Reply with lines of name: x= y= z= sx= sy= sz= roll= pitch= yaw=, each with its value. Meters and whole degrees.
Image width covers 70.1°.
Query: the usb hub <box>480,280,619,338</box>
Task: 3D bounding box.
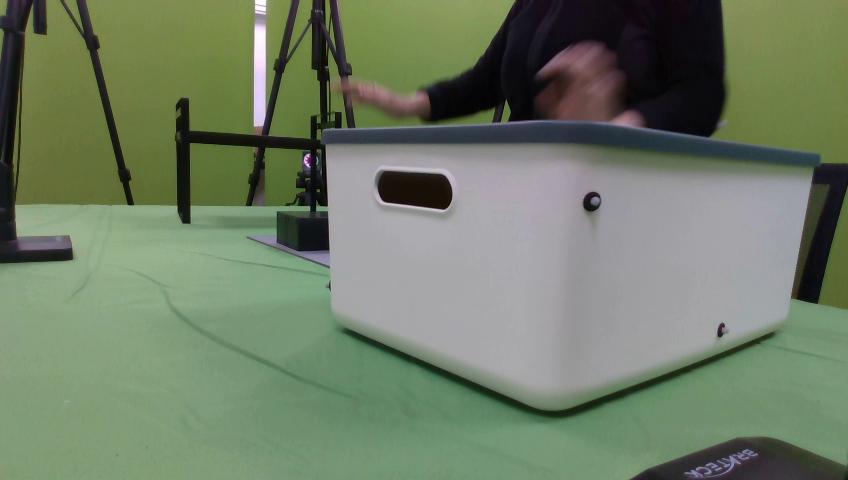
usb hub: x=0.111 y=0.057 z=0.525 sx=0.126 sy=0.025 sz=0.049 roll=-5 pitch=13 yaw=-35

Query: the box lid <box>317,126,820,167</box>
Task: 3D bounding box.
box lid: x=0.129 y=-0.073 z=0.502 sx=0.374 sy=0.015 sz=0.262 roll=-4 pitch=10 yaw=-40

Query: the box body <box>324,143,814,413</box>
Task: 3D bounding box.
box body: x=0.125 y=-0.001 z=0.510 sx=0.366 sy=0.160 sz=0.253 roll=-4 pitch=10 yaw=-40
